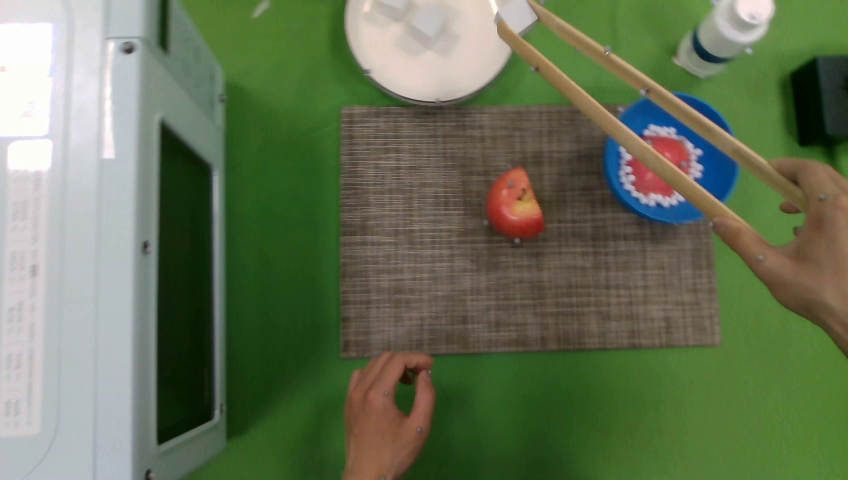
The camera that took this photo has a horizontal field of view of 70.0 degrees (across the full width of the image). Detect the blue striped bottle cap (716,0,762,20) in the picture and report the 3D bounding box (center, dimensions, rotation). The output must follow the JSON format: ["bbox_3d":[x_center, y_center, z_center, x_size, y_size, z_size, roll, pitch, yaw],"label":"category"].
[{"bbox_3d":[0.344,-0.263,0.660,0.044,0.020,0.044,0,86,-3],"label":"blue striped bottle cap"}]

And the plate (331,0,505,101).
[{"bbox_3d":[-0.006,-0.265,0.737,0.208,0.039,0.207,0,83,-3],"label":"plate"}]

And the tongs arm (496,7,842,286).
[{"bbox_3d":[0.185,-0.098,0.531,0.028,0.028,0.384,-34,63,-10],"label":"tongs arm"}]

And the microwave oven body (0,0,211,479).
[{"bbox_3d":[-0.385,0.005,0.568,0.326,0.260,0.440,-4,84,-4],"label":"microwave oven body"}]

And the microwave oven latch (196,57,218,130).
[{"bbox_3d":[-0.254,-0.166,0.693,0.030,0.029,0.079,-4,84,-4],"label":"microwave oven latch"}]

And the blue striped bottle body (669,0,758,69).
[{"bbox_3d":[0.342,-0.255,0.710,0.063,0.121,0.063,0,82,-2],"label":"blue striped bottle body"}]

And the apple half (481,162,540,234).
[{"bbox_3d":[0.093,-0.043,0.692,0.053,0.074,0.080,-22,88,-1],"label":"apple half"}]

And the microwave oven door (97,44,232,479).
[{"bbox_3d":[-0.236,0.036,0.567,0.039,0.244,0.354,-4,83,-3],"label":"microwave oven door"}]

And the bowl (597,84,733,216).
[{"bbox_3d":[0.266,-0.095,0.705,0.151,0.077,0.151,0,83,-2],"label":"bowl"}]

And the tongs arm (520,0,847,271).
[{"bbox_3d":[0.203,-0.111,0.534,0.051,0.027,0.381,-40,63,-9],"label":"tongs arm"}]

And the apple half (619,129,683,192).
[{"bbox_3d":[0.268,-0.095,0.700,0.081,0.033,0.081,1,81,-3],"label":"apple half"}]
